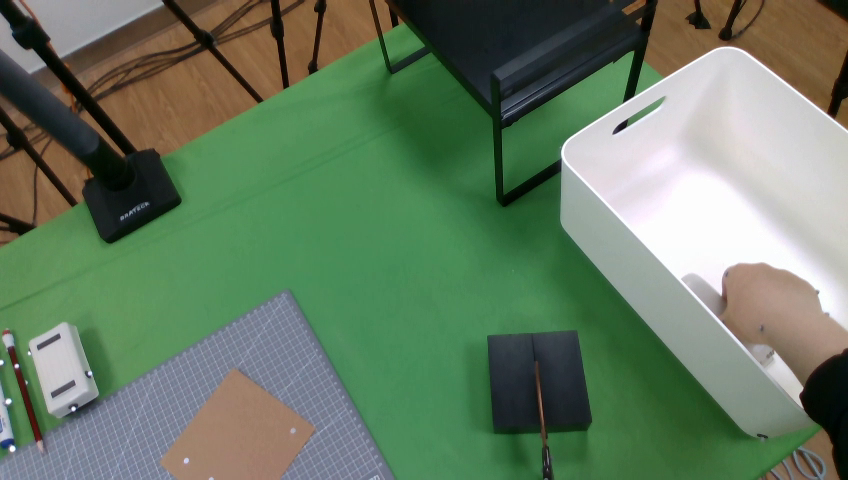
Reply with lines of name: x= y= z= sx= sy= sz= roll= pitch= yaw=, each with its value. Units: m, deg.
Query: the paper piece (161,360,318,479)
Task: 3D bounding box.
paper piece: x=-0.216 y=0.233 z=0.706 sx=0.137 sy=0.009 sz=0.135 roll=31 pitch=75 yaw=19

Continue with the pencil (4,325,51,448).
pencil: x=-0.504 y=0.183 z=0.771 sx=0.012 sy=0.012 sz=0.192 roll=-34 pitch=64 yaw=-10

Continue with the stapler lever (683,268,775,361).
stapler lever: x=0.323 y=0.079 z=0.643 sx=0.027 sy=0.040 sz=0.117 roll=-31 pitch=65 yaw=-18

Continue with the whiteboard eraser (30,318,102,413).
whiteboard eraser: x=-0.448 y=0.157 z=0.760 sx=0.055 sy=0.042 sz=0.111 roll=-33 pitch=64 yaw=-8

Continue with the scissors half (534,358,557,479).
scissors half: x=0.124 y=0.206 z=0.614 sx=0.013 sy=0.040 sz=0.174 roll=-7 pitch=66 yaw=8

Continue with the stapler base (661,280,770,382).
stapler base: x=0.321 y=0.093 z=0.666 sx=0.041 sy=0.024 sz=0.129 roll=-31 pitch=64 yaw=-18

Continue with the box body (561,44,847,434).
box body: x=0.350 y=-0.004 z=0.665 sx=0.254 sy=0.162 sz=0.360 roll=-32 pitch=63 yaw=-9

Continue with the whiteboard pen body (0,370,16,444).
whiteboard pen body: x=-0.539 y=0.194 z=0.766 sx=0.017 sy=0.017 sz=0.139 roll=-31 pitch=63 yaw=-8

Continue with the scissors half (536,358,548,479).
scissors half: x=0.127 y=0.212 z=0.634 sx=0.013 sy=0.040 sz=0.174 roll=-5 pitch=83 yaw=3
